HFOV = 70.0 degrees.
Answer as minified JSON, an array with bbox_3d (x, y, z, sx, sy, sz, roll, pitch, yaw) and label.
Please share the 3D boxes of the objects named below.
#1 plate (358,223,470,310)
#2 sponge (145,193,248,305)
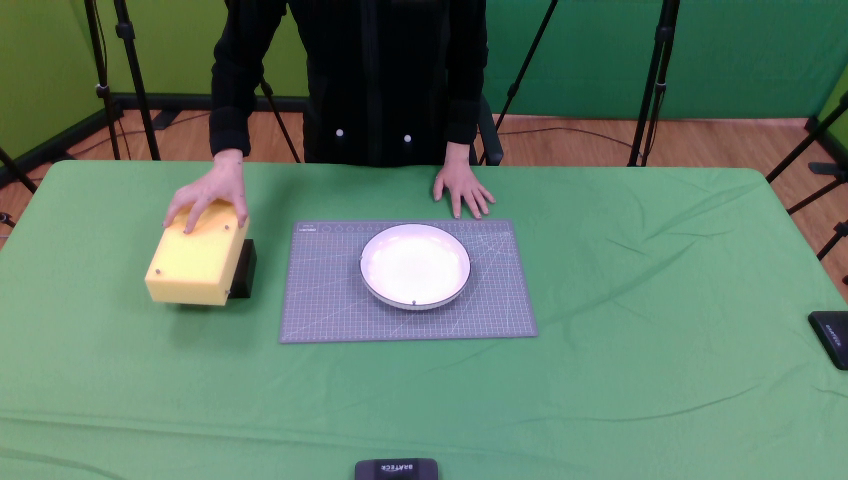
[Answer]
[{"bbox_3d":[-0.019,0.052,1.132,0.209,0.038,0.208,2,46,-2],"label":"plate"},{"bbox_3d":[-0.391,0.012,1.059,0.118,0.061,0.205,2,47,-3],"label":"sponge"}]
